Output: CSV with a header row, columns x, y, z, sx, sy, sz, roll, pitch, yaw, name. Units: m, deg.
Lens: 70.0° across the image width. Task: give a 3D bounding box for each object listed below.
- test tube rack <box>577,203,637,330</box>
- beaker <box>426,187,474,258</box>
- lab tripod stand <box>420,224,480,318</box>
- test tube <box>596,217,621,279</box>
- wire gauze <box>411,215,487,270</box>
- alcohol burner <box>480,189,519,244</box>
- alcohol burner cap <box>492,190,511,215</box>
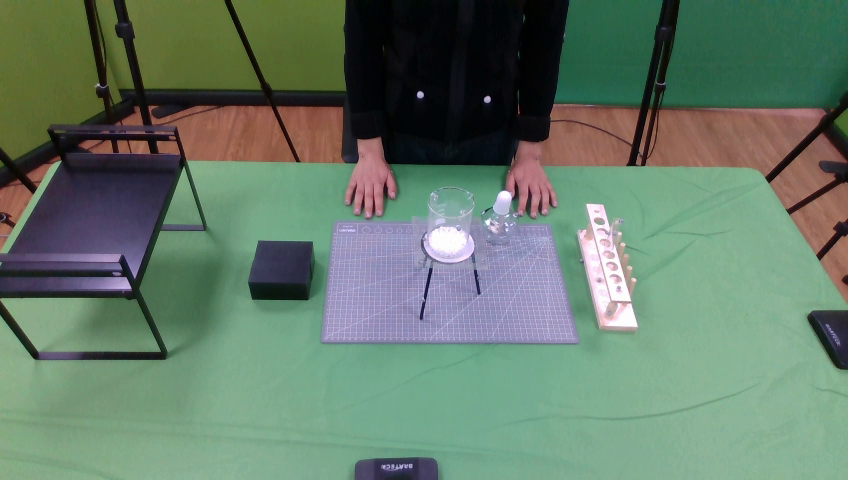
x,y,z,sx,sy,sz,roll,pitch,yaw,name
0.348,0.045,1.139,0.067,0.085,0.241,2,46,-2,test tube rack
0.042,-0.027,0.989,0.084,0.101,0.073,-27,53,-26,beaker
0.034,0.051,1.071,0.148,0.132,0.147,3,48,-3,lab tripod stand
0.331,0.018,1.094,0.017,0.151,0.017,0,45,0,test tube
0.041,0.003,1.026,0.125,0.011,0.120,0,46,-1,wire gauze
0.150,-0.050,1.191,0.078,0.120,0.077,1,46,-1,alcohol burner
0.151,-0.076,1.165,0.034,0.048,0.033,5,49,-6,alcohol burner cap
